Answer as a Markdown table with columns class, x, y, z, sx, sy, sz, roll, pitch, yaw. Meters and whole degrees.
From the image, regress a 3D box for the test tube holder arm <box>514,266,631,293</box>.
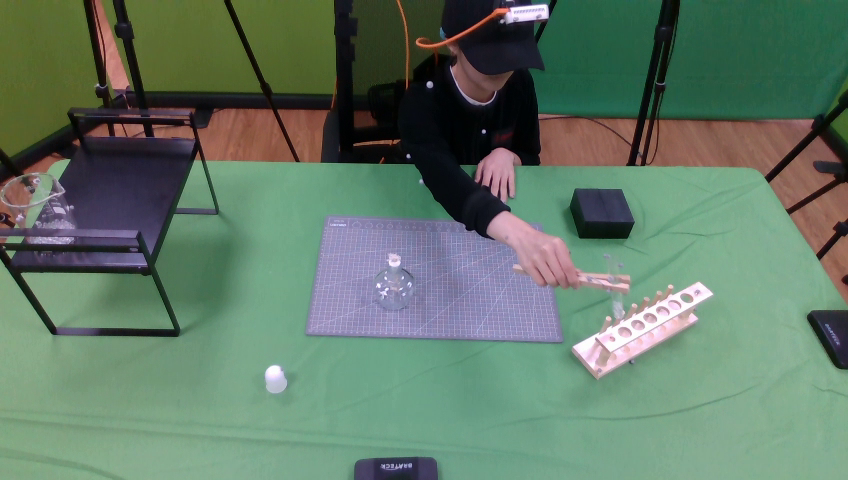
| class | x | y | z | sx | sy | sz | roll | pitch | yaw |
| --- | --- | --- | --- | --- | --- | --- | --- | --- | --- |
| test tube holder arm | 0.223 | 0.058 | 0.922 | 0.178 | 0.015 | 0.013 | 7 | 49 | 26 |

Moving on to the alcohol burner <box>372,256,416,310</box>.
| class | x | y | z | sx | sy | sz | roll | pitch | yaw |
| --- | --- | --- | --- | --- | --- | --- | --- | --- | --- |
| alcohol burner | -0.052 | 0.068 | 1.057 | 0.078 | 0.120 | 0.077 | 1 | 48 | -1 |

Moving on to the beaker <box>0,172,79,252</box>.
| class | x | y | z | sx | sy | sz | roll | pitch | yaw |
| --- | --- | --- | --- | --- | --- | --- | --- | --- | --- |
| beaker | -0.557 | -0.038 | 0.889 | 0.084 | 0.101 | 0.073 | -3 | 47 | -8 |

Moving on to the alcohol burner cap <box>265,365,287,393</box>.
| class | x | y | z | sx | sy | sz | roll | pitch | yaw |
| --- | --- | --- | --- | --- | --- | --- | --- | --- | --- |
| alcohol burner cap | -0.236 | 0.216 | 0.956 | 0.034 | 0.048 | 0.033 | 3 | 46 | -3 |

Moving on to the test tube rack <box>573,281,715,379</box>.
| class | x | y | z | sx | sy | sz | roll | pitch | yaw |
| --- | --- | --- | --- | --- | --- | --- | --- | --- | --- |
| test tube rack | 0.378 | 0.140 | 1.038 | 0.242 | 0.085 | 0.066 | -22 | 51 | -23 |

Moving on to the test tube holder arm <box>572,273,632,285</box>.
| class | x | y | z | sx | sy | sz | roll | pitch | yaw |
| --- | --- | --- | --- | --- | --- | --- | --- | --- | --- |
| test tube holder arm | 0.266 | 0.058 | 0.907 | 0.087 | 0.015 | 0.010 | 1 | 48 | 21 |

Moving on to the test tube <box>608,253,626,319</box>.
| class | x | y | z | sx | sy | sz | roll | pitch | yaw |
| --- | --- | --- | --- | --- | --- | --- | --- | --- | --- |
| test tube | 0.289 | 0.073 | 0.905 | 0.017 | 0.151 | 0.017 | -12 | 45 | 13 |
